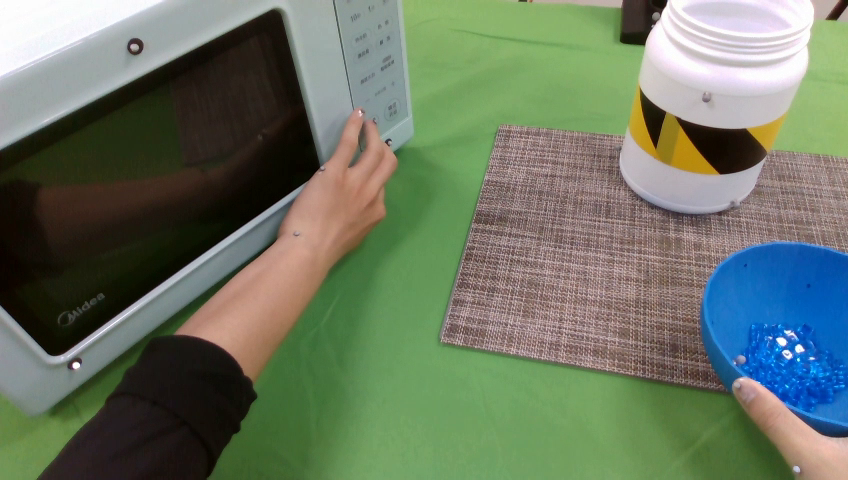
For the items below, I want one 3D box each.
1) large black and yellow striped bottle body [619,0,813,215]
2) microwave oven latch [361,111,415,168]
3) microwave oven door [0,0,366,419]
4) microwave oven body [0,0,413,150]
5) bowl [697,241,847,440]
[{"bbox_3d":[0.258,-0.129,0.550,0.131,0.186,0.129,-2,48,3],"label":"large black and yellow striped bottle body"},{"bbox_3d":[-0.043,-0.110,0.639,0.030,0.030,0.079,34,59,29],"label":"microwave oven latch"},{"bbox_3d":[-0.197,-0.051,0.459,0.039,0.246,0.355,31,57,29],"label":"microwave oven door"},{"bbox_3d":[-0.278,-0.138,0.552,0.323,0.263,0.441,32,58,28],"label":"microwave oven body"},{"bbox_3d":[0.266,0.081,0.431,0.151,0.077,0.150,-3,48,3],"label":"bowl"}]
